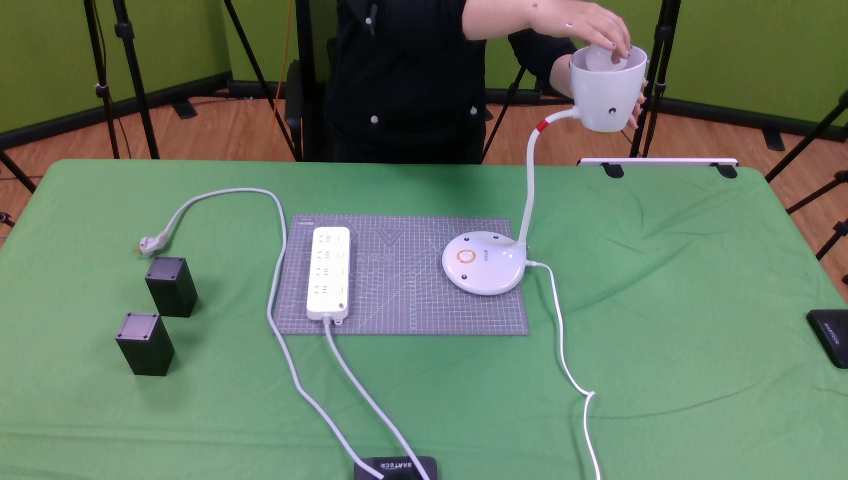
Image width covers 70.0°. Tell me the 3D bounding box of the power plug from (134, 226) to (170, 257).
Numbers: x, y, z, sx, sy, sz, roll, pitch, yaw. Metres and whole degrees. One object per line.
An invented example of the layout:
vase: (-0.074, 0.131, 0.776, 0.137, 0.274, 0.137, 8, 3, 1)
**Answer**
power plug: (-0.515, 0.006, 1.153, 0.052, 0.035, 0.072, -6, 24, 6)

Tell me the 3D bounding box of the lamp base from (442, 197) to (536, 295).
lamp base: (0.130, -0.012, 1.105, 0.179, 0.181, 0.159, -1, 46, -9)

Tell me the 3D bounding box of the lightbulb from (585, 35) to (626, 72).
lightbulb: (0.273, -0.254, 0.914, 0.059, 0.108, 0.059, -8, 37, 6)

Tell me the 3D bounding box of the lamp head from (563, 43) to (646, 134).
lamp head: (0.274, -0.226, 0.932, 0.112, 0.123, 0.112, -2, 38, 2)

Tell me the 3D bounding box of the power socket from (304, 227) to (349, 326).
power socket: (-0.177, 0.059, 1.115, 0.072, 0.033, 0.225, -1, 46, -4)
